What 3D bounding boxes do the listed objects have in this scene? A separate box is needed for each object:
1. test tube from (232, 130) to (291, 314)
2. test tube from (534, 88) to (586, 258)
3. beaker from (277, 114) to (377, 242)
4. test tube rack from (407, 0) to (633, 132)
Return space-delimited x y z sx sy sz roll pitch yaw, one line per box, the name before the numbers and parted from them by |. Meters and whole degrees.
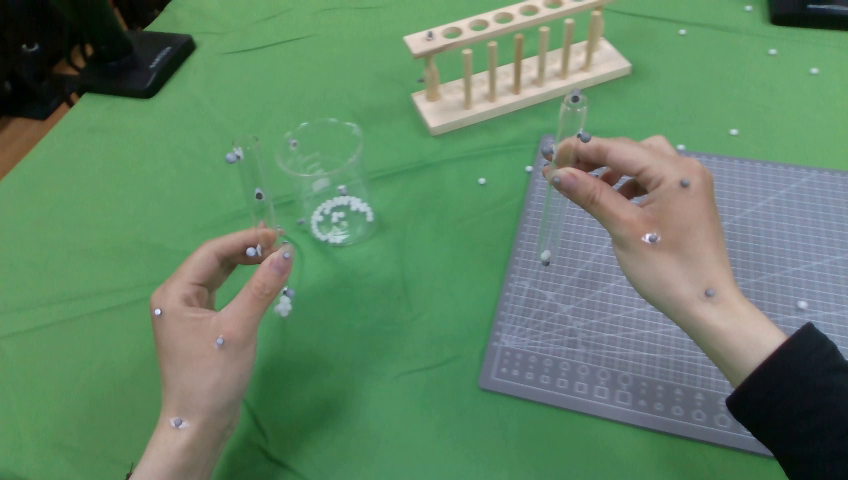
test tube | -0.106 -0.005 0.404 0.017 0.152 0.017 0 40 0
test tube | 0.088 -0.037 0.405 0.017 0.151 0.017 -1 51 2
beaker | -0.082 -0.054 0.554 0.073 0.101 0.084 35 62 28
test tube rack | 0.110 -0.204 0.661 0.242 0.086 0.066 -19 52 -8
